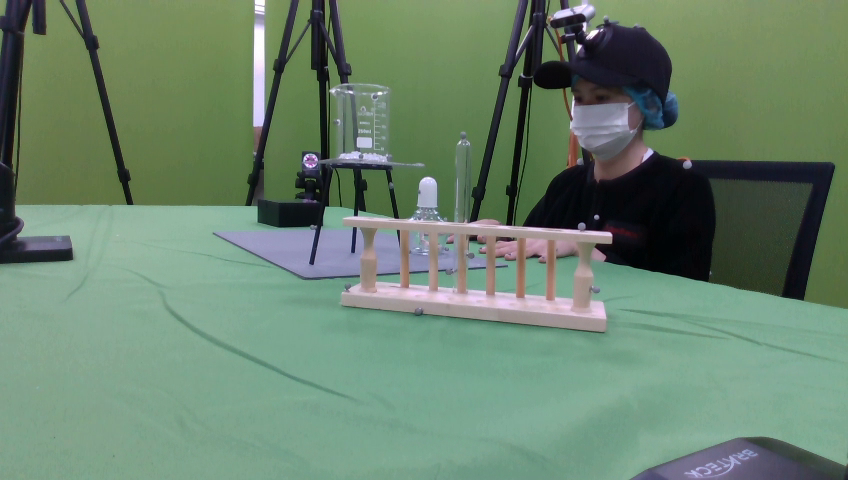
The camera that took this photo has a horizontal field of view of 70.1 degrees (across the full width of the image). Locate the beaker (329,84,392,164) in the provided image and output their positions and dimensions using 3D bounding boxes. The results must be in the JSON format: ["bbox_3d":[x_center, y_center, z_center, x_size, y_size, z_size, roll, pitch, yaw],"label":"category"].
[{"bbox_3d":[-0.084,-0.149,0.794,0.084,0.100,0.073,-1,6,-23],"label":"beaker"}]

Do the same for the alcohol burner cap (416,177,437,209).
[{"bbox_3d":[0.005,-0.072,0.914,0.034,0.048,0.034,3,9,0],"label":"alcohol burner cap"}]

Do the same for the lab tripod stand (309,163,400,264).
[{"bbox_3d":[-0.091,-0.037,0.813,0.148,0.131,0.148,1,6,0],"label":"lab tripod stand"}]

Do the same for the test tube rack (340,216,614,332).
[{"bbox_3d":[0.048,0.026,0.568,0.242,0.085,0.067,4,8,13],"label":"test tube rack"}]

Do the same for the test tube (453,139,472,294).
[{"bbox_3d":[0.037,-0.021,0.584,0.017,0.150,0.017,1,7,0],"label":"test tube"}]

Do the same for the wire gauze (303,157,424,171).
[{"bbox_3d":[-0.082,-0.101,0.799,0.126,0.011,0.121,1,7,-30],"label":"wire gauze"}]

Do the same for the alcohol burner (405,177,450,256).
[{"bbox_3d":[0.004,-0.036,0.917,0.078,0.119,0.078,3,6,0],"label":"alcohol burner"}]
